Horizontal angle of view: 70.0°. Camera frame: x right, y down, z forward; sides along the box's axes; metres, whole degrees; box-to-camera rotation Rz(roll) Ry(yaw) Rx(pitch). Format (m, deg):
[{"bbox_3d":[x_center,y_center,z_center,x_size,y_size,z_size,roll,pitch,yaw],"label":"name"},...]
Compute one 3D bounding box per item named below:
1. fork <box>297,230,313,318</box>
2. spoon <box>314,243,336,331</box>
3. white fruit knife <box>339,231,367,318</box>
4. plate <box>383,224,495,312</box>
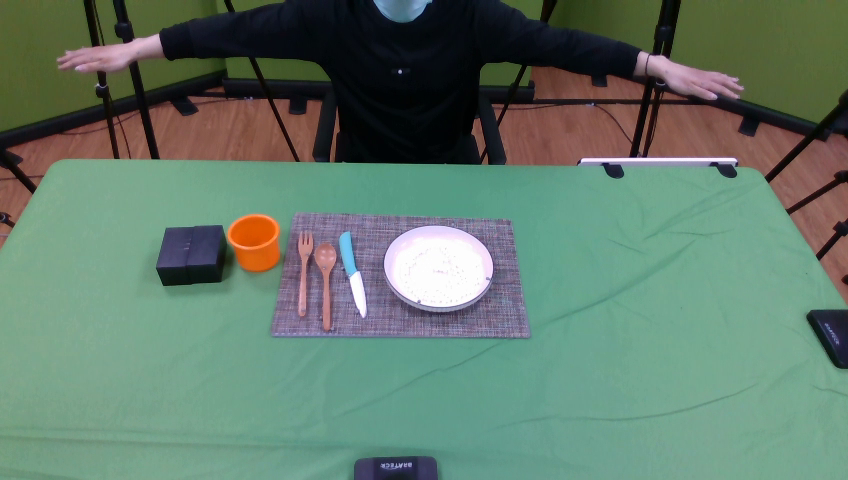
[{"bbox_3d":[-0.223,0.058,1.121,0.028,0.019,0.206,4,44,-11],"label":"fork"},{"bbox_3d":[-0.179,0.082,1.098,0.042,0.022,0.192,8,44,-17],"label":"spoon"},{"bbox_3d":[-0.132,0.062,1.125,0.027,0.016,0.206,-18,49,-3],"label":"white fruit knife"},{"bbox_3d":[0.026,0.055,1.128,0.209,0.038,0.208,2,46,-2],"label":"plate"}]
